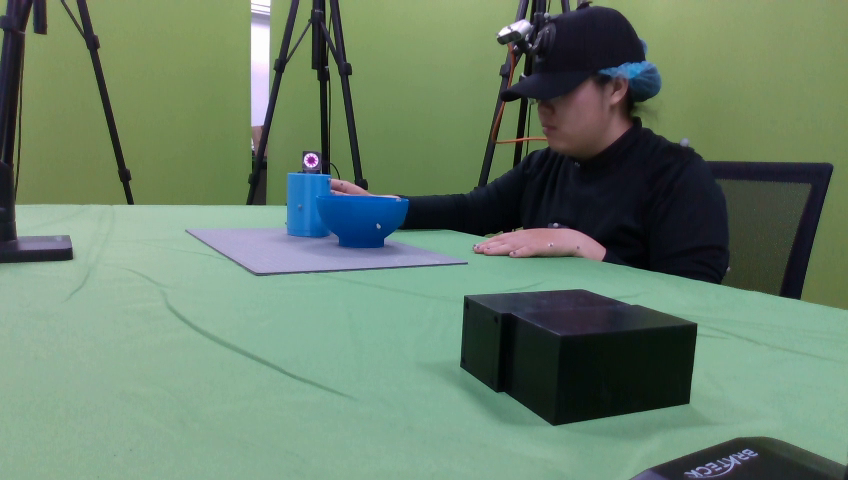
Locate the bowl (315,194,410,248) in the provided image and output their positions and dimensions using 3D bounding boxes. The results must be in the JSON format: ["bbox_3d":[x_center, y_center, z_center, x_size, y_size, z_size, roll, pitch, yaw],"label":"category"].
[{"bbox_3d":[-0.100,-0.030,0.971,0.151,0.077,0.151,2,7,0],"label":"bowl"}]

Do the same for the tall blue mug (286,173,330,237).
[{"bbox_3d":[-0.207,-0.066,1.088,0.078,0.108,0.107,0,8,-12],"label":"tall blue mug"}]
